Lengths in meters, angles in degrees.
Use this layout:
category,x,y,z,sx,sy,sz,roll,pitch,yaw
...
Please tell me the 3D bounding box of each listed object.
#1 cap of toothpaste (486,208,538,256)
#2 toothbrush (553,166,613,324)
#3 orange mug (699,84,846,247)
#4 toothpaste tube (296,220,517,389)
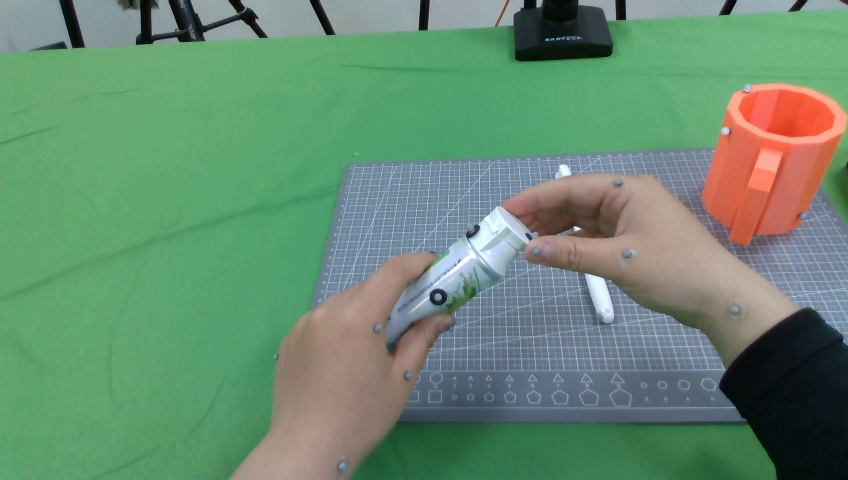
category,x,y,z,sx,sy,sz,roll,pitch,yaw
cap of toothpaste,0.052,-0.004,0.359,0.011,0.038,0.037,-48,43,20
toothbrush,0.135,-0.003,0.521,0.014,0.017,0.180,3,45,-6
orange mug,0.278,-0.056,0.498,0.083,0.102,0.126,20,46,25
toothpaste tube,-0.008,0.047,0.379,0.165,0.055,0.034,-41,57,15
